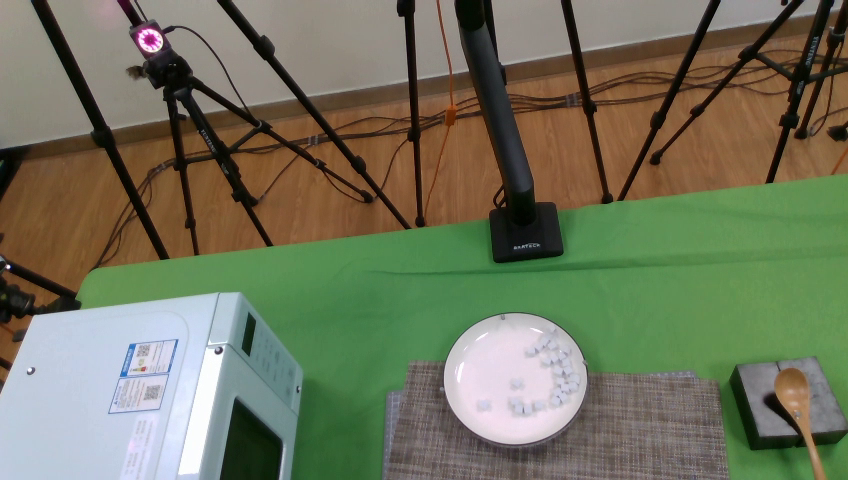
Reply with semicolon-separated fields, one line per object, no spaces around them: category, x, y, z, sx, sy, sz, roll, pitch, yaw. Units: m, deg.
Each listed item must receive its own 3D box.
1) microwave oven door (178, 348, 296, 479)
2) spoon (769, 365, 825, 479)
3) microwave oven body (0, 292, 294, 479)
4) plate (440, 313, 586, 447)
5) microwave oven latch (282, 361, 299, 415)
microwave oven door;-0.226;0.339;0.715;0.039;0.246;0.352;-8;52;8
spoon;0.465;0.249;0.736;0.041;0.022;0.192;-11;74;3
microwave oven body;-0.370;0.329;0.764;0.326;0.263;0.437;-8;53;7
plate;0.128;0.203;0.882;0.209;0.038;0.207;-7;51;9
microwave oven latch;-0.209;0.227;0.927;0.030;0.030;0.078;-8;53;7
